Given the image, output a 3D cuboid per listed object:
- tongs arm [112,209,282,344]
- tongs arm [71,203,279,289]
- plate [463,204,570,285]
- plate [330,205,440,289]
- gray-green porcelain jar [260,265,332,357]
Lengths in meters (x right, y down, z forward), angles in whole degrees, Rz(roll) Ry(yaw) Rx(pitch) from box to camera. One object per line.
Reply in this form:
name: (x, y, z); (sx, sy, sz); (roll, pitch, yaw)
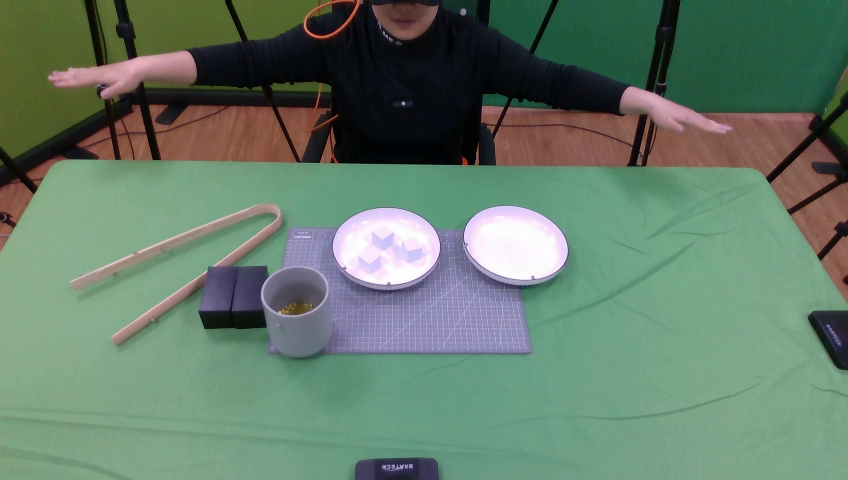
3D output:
tongs arm: (-0.397, 0.057, 1.109); (0.028, 0.028, 0.387); (28, 50, 25)
tongs arm: (-0.454, 0.011, 1.144); (0.385, 0.026, 0.050); (-29, 55, -29)
plate: (0.178, 0.011, 1.184); (0.209, 0.038, 0.208); (3, 46, -3)
plate: (-0.074, 0.017, 1.160); (0.208, 0.039, 0.206); (2, 47, -2)
gray-green porcelain jar: (-0.205, 0.121, 0.989); (0.106, 0.127, 0.105); (2, 46, -2)
